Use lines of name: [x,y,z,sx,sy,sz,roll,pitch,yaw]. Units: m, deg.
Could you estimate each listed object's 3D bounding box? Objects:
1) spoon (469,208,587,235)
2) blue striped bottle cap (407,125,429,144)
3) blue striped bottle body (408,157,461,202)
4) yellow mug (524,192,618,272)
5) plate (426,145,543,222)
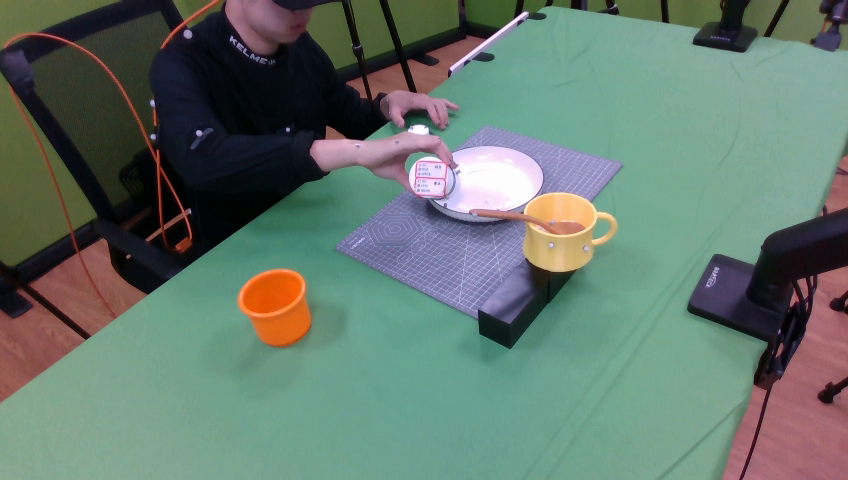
spoon: [0.143,-0.026,0.817,0.195,0.021,0.041,12,35,-29]
blue striped bottle cap: [-0.012,-0.214,1.227,0.044,0.021,0.044,-6,37,5]
blue striped bottle body: [0.021,-0.093,0.953,0.063,0.063,0.121,5,1,15]
yellow mug: [0.206,-0.014,0.845,0.131,0.064,0.099,-4,41,2]
plate: [0.101,-0.094,1.048,0.207,0.039,0.206,-4,41,4]
